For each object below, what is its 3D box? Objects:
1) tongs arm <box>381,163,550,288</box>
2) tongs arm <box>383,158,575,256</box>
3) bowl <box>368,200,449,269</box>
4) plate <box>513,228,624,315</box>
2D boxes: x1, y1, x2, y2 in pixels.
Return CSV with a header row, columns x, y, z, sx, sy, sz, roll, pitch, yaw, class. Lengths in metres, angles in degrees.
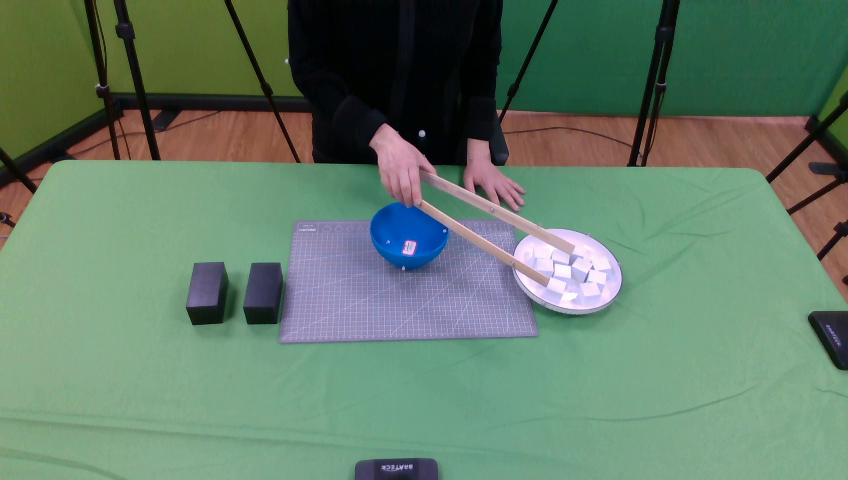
x,y,z,sx,sy,sz,roll,pitch,yaw,class
0.059,-0.030,1.071,0.386,0.028,0.028,35,55,22,tongs arm
0.092,-0.060,1.106,0.383,0.026,0.050,30,50,18,tongs arm
-0.030,0.002,1.151,0.151,0.077,0.150,2,46,-2,bowl
0.268,0.063,1.146,0.208,0.039,0.206,3,46,-3,plate
